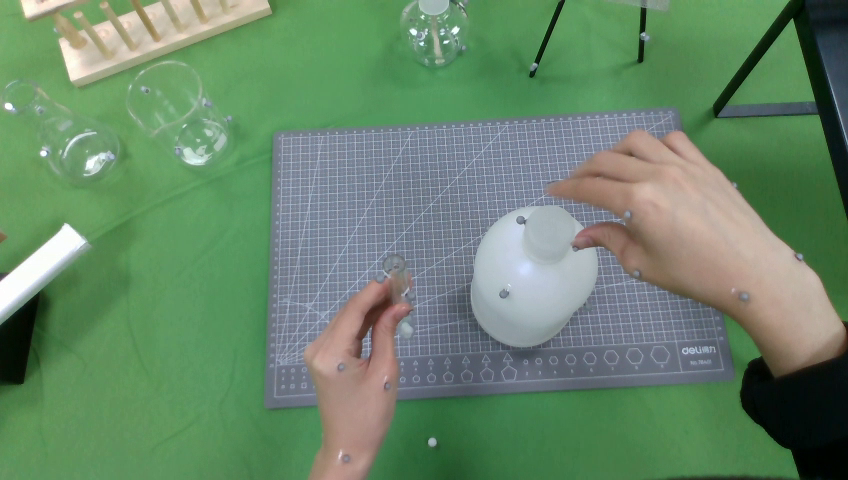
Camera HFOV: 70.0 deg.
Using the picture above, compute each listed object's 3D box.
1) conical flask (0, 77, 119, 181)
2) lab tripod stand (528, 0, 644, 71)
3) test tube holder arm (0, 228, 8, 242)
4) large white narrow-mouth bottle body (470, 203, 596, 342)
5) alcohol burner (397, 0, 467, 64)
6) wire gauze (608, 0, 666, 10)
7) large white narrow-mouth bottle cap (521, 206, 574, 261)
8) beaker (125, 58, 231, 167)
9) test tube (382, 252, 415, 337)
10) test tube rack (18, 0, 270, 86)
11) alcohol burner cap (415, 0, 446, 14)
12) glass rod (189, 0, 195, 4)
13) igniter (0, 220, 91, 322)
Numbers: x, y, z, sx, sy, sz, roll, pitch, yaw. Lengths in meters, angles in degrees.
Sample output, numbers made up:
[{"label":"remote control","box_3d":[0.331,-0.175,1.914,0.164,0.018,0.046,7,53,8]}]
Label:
[{"label":"conical flask","box_3d":[-0.376,-0.116,0.618,0.075,0.122,0.075,-1,70,2]},{"label":"lab tripod stand","box_3d":[0.178,-0.257,0.646,0.148,0.132,0.147,0,70,0]},{"label":"test tube holder arm","box_3d":[-0.439,0.021,0.577,0.010,0.015,0.087,41,76,13]},{"label":"large white narrow-mouth bottle body","box_3d":[0.092,0.025,0.518,0.102,0.196,0.101,-1,72,2]},{"label":"alcohol burner","box_3d":[0.009,-0.248,0.659,0.078,0.120,0.077,0,69,0]},{"label":"wire gauze","box_3d":[0.183,-0.281,0.583,0.121,0.011,0.124,17,73,5]},{"label":"large white narrow-mouth bottle cap","box_3d":[0.087,-0.004,0.429,0.038,0.024,0.037,0,72,2]},{"label":"beaker","box_3d":[-0.251,-0.124,0.630,0.074,0.101,0.083,11,72,6]},{"label":"test tube","box_3d":[-0.017,0.046,0.455,0.017,0.151,0.017,-1,65,2]},{"label":"test tube rack","box_3d":[-0.310,-0.268,0.688,0.242,0.086,0.066,-24,72,-7]},{"label":"alcohol burner cap","box_3d":[0.006,-0.262,0.625,0.034,0.048,0.033,0,70,1]},{"label":"glass rod","box_3d":[-0.291,-0.326,0.636,0.008,0.201,0.008,-3,65,7]},{"label":"igniter","box_3d":[-0.426,0.088,0.550,0.057,0.025,0.276,39,73,12]}]
